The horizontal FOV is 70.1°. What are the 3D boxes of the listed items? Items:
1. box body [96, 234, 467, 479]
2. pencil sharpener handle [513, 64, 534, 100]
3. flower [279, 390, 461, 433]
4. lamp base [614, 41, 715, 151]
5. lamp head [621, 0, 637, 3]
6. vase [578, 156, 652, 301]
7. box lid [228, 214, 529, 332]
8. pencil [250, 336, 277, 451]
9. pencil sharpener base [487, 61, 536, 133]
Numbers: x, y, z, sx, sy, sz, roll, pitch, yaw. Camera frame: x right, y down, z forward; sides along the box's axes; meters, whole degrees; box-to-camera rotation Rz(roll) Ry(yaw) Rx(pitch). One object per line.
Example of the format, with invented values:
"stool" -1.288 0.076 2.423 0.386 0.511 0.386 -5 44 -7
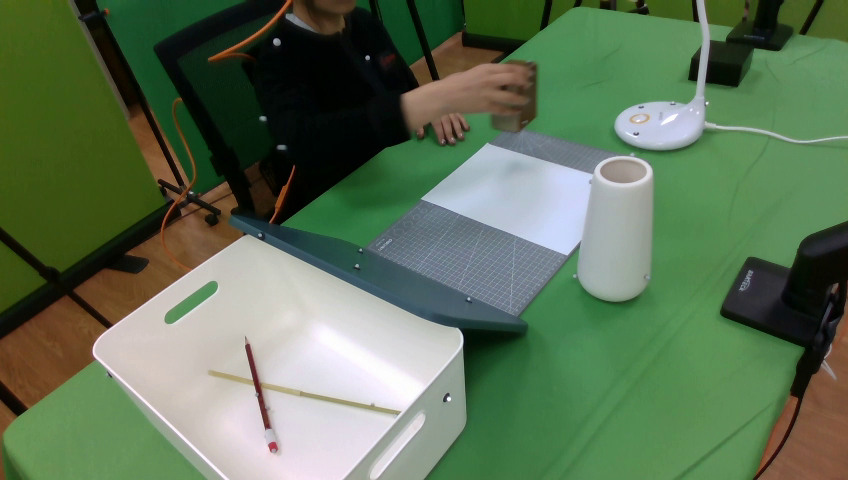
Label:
"box body" -0.155 0.169 0.707 0.361 0.161 0.255 23 49 33
"pencil sharpener handle" 0.187 -0.292 1.103 0.035 0.068 0.031 14 40 34
"flower" -0.122 0.203 0.771 0.360 0.038 0.044 2 77 22
"lamp base" 0.449 -0.277 1.106 0.179 0.181 0.160 1 41 9
"lamp head" 0.319 -0.453 0.962 0.113 0.123 0.112 20 33 -13
"vase" 0.261 -0.011 0.812 0.098 0.201 0.097 -4 40 4
"box lid" -0.061 0.045 0.812 0.368 0.265 0.015 22 93 32
"pencil" -0.213 0.193 0.790 0.012 0.012 0.192 -19 42 -11
"pencil sharpener base" 0.159 -0.256 1.077 0.061 0.107 0.077 17 41 32
